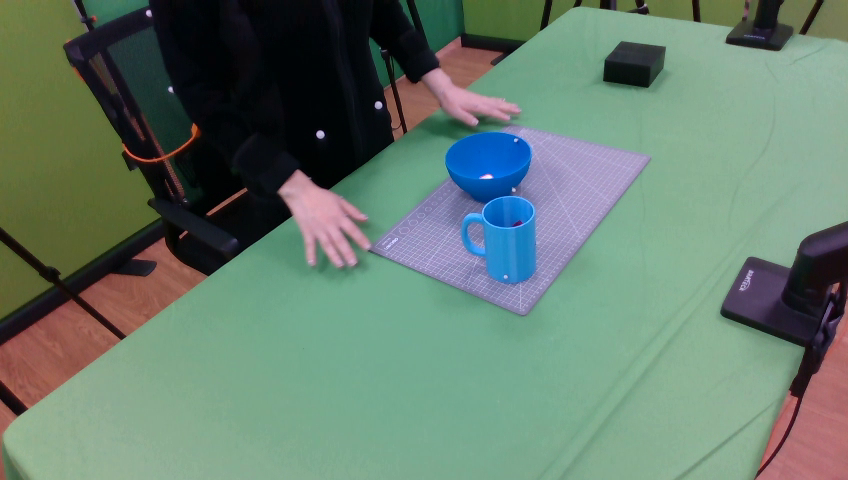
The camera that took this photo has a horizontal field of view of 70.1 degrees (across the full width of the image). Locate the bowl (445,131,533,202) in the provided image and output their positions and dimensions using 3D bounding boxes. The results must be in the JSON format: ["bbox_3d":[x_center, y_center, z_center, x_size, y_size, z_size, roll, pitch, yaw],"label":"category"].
[{"bbox_3d":[0.115,-0.119,1.056,0.151,0.077,0.150,-6,40,5],"label":"bowl"}]

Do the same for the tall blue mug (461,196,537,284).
[{"bbox_3d":[0.112,0.002,0.889,0.107,0.108,0.077,-10,41,0],"label":"tall blue mug"}]
